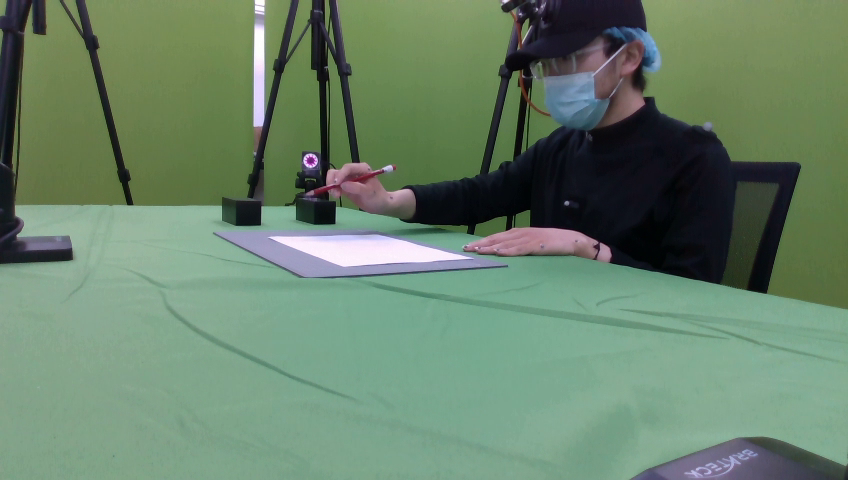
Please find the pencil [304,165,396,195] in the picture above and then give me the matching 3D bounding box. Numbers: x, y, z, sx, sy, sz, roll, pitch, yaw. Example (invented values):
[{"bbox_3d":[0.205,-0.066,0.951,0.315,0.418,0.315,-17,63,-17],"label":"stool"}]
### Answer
[{"bbox_3d":[-0.130,-0.108,1.090,0.195,0.012,0.012,-22,20,-31],"label":"pencil"}]
